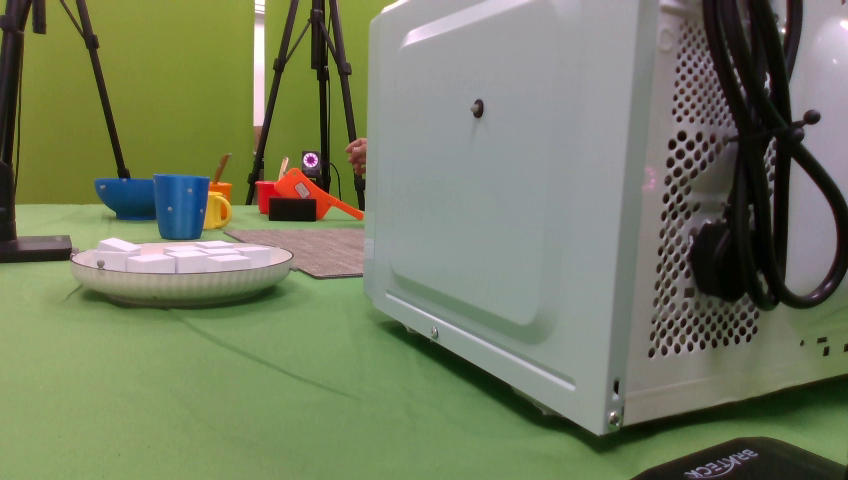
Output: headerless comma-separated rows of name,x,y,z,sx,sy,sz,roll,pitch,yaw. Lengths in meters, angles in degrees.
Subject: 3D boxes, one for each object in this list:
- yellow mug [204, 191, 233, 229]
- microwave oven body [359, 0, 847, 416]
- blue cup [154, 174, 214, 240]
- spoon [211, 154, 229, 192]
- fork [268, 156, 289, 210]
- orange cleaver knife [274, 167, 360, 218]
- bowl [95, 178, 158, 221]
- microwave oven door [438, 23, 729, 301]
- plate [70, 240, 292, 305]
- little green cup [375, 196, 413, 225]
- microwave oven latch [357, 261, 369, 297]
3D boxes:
yellow mug,-0.415,-0.057,1.131,0.130,0.064,0.100,6,8,16
microwave oven body,0.211,-0.047,0.474,0.444,0.260,0.324,-1,7,-28
blue cup,-0.391,-0.053,0.978,0.093,0.100,0.092,4,6,0
spoon,-0.431,-0.115,1.253,0.042,0.193,0.021,-3,54,-33
fork,-0.360,-0.144,1.508,0.028,0.018,0.207,1,49,0
orange cleaver knife,-0.238,-0.091,1.381,0.212,0.077,0.012,31,0,-19
bowl,-0.576,-0.081,1.217,0.151,0.077,0.151,3,8,0
microwave oven door,0.181,-0.072,0.621,0.358,0.243,0.039,-2,8,-29
plate,-0.242,0.031,0.618,0.208,0.039,0.207,2,8,0
little green cup,-0.049,-0.047,0.965,0.061,0.038,0.061,5,12,-1
microwave oven latch,-0.019,0.033,0.531,0.079,0.029,0.030,-1,7,-27
